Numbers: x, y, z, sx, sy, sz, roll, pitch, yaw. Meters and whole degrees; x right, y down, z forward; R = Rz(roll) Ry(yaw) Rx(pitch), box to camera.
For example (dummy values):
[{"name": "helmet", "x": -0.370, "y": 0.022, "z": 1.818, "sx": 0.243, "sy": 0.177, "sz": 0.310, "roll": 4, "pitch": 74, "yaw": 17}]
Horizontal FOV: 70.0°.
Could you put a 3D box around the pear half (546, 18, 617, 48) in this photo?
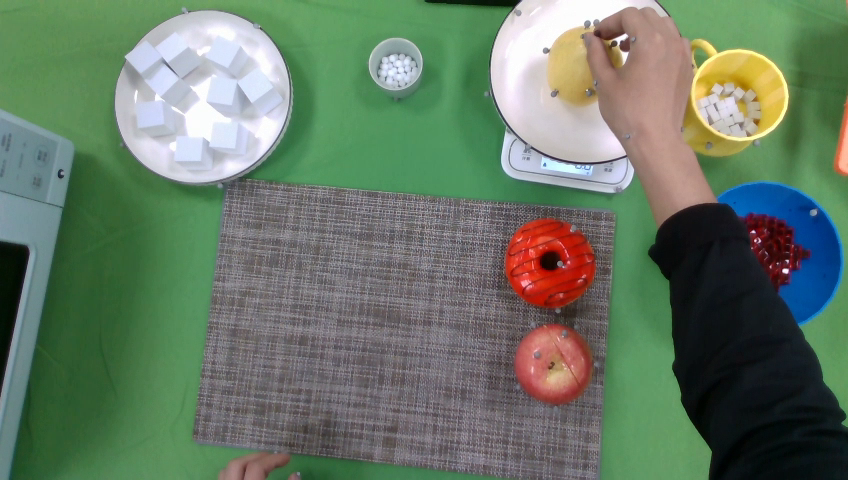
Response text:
[{"name": "pear half", "x": 0.160, "y": -0.211, "z": 0.622, "sx": 0.070, "sy": 0.088, "sz": 0.031, "roll": -7, "pitch": 81, "yaw": 5}]

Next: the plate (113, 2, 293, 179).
[{"name": "plate", "x": -0.252, "y": -0.171, "z": 0.706, "sx": 0.207, "sy": 0.039, "sz": 0.207, "roll": 0, "pitch": 84, "yaw": 3}]

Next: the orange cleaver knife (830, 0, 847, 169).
[{"name": "orange cleaver knife", "x": 0.458, "y": -0.173, "z": 0.614, "sx": 0.077, "sy": 0.012, "sz": 0.211, "roll": 10, "pitch": 86, "yaw": 7}]

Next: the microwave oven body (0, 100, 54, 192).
[{"name": "microwave oven body", "x": -0.607, "y": 0.050, "z": 0.590, "sx": 0.326, "sy": 0.261, "sz": 0.440, "roll": 8, "pitch": 86, "yaw": 4}]

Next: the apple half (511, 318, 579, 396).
[{"name": "apple half", "x": 0.120, "y": 0.128, "z": 0.635, "sx": 0.053, "sy": 0.075, "sz": 0.080, "roll": -31, "pitch": 85, "yaw": 4}]

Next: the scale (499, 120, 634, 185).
[{"name": "scale", "x": 0.171, "y": -0.169, "z": 0.685, "sx": 0.148, "sy": 0.031, "sz": 0.200, "roll": 10, "pitch": 86, "yaw": 4}]

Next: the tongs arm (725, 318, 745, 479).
[{"name": "tongs arm", "x": 0.339, "y": 0.272, "z": 0.633, "sx": 0.051, "sy": 0.026, "sz": 0.384, "roll": 6, "pitch": 86, "yaw": -1}]

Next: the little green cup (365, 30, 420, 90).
[{"name": "little green cup", "x": -0.034, "y": -0.204, "z": 0.697, "sx": 0.061, "sy": 0.039, "sz": 0.061, "roll": 0, "pitch": 84, "yaw": 4}]

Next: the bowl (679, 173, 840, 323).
[{"name": "bowl", "x": 0.335, "y": 0.011, "z": 0.636, "sx": 0.151, "sy": 0.077, "sz": 0.151, "roll": 0, "pitch": 85, "yaw": 4}]

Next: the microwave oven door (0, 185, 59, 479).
[{"name": "microwave oven door", "x": -0.470, "y": 0.112, "z": 0.571, "sx": 0.039, "sy": 0.244, "sz": 0.355, "roll": 8, "pitch": 85, "yaw": 5}]

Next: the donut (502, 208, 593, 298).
[{"name": "donut", "x": 0.133, "y": 0.014, "z": 0.660, "sx": 0.099, "sy": 0.048, "sz": 0.099, "roll": -1, "pitch": 85, "yaw": 6}]

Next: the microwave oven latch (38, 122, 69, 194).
[{"name": "microwave oven latch", "x": -0.429, "y": -0.094, "z": 0.690, "sx": 0.030, "sy": 0.029, "sz": 0.079, "roll": 10, "pitch": 86, "yaw": 4}]

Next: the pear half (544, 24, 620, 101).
[{"name": "pear half", "x": 0.160, "y": -0.176, "z": 0.608, "sx": 0.076, "sy": 0.110, "sz": 0.055, "roll": -5, "pitch": 80, "yaw": 7}]

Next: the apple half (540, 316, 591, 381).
[{"name": "apple half", "x": 0.153, "y": 0.106, "z": 0.634, "sx": 0.033, "sy": 0.081, "sz": 0.081, "roll": -32, "pitch": 83, "yaw": 4}]

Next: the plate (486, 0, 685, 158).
[{"name": "plate", "x": 0.171, "y": -0.187, "z": 0.653, "sx": 0.209, "sy": 0.038, "sz": 0.208, "roll": 0, "pitch": 85, "yaw": 3}]

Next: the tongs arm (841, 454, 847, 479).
[{"name": "tongs arm", "x": 0.424, "y": 0.288, "z": 0.631, "sx": 0.028, "sy": 0.028, "sz": 0.387, "roll": 20, "pitch": 87, "yaw": -3}]

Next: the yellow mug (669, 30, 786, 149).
[{"name": "yellow mug", "x": 0.319, "y": -0.169, "z": 0.659, "sx": 0.100, "sy": 0.064, "sz": 0.130, "roll": -27, "pitch": 83, "yaw": 1}]
